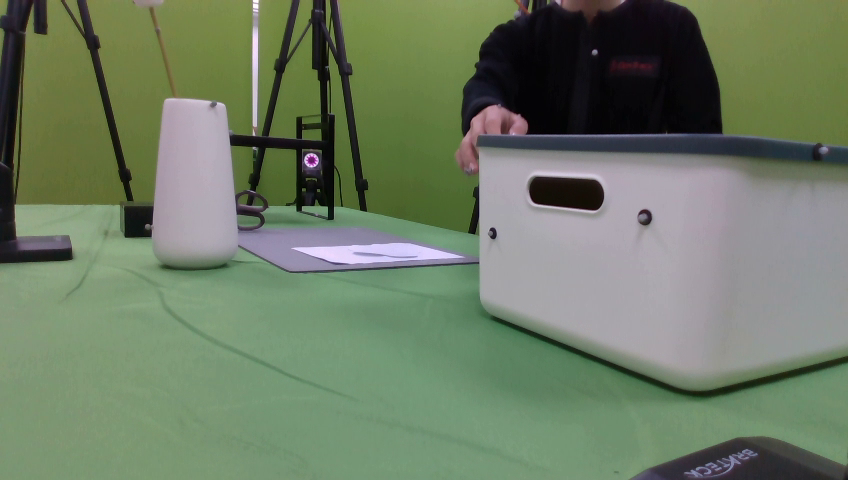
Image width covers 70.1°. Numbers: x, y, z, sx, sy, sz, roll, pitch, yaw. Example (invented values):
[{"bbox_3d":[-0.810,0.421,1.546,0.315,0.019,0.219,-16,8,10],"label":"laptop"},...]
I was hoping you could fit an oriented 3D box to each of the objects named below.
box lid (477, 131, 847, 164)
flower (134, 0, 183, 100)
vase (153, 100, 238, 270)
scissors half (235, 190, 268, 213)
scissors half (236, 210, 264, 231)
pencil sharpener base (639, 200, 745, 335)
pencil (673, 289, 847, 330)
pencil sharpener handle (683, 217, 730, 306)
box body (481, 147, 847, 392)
[{"bbox_3d":[0.257,-0.072,0.531,0.373,0.015,0.262,-1,8,-31],"label":"box lid"},{"bbox_3d":[-0.282,-0.147,0.713,0.038,0.362,0.044,-23,24,-31],"label":"flower"},{"bbox_3d":[-0.278,-0.066,0.736,0.098,0.200,0.098,2,9,0],"label":"vase"},{"bbox_3d":[-0.363,-0.070,1.060,0.176,0.040,0.013,0,16,-23],"label":"scissors half"},{"bbox_3d":[-0.369,-0.051,1.065,0.176,0.040,0.012,19,13,-27],"label":"scissors half"},{"bbox_3d":[0.231,0.022,0.528,0.061,0.107,0.077,4,9,7],"label":"pencil sharpener base"},{"bbox_3d":[0.330,0.066,0.609,0.012,0.012,0.193,-1,6,-28],"label":"pencil"},{"bbox_3d":[0.225,0.017,0.476,0.036,0.067,0.030,7,9,6],"label":"pencil sharpener handle"},{"bbox_3d":[0.255,0.001,0.541,0.366,0.160,0.253,-2,9,-31],"label":"box body"}]
